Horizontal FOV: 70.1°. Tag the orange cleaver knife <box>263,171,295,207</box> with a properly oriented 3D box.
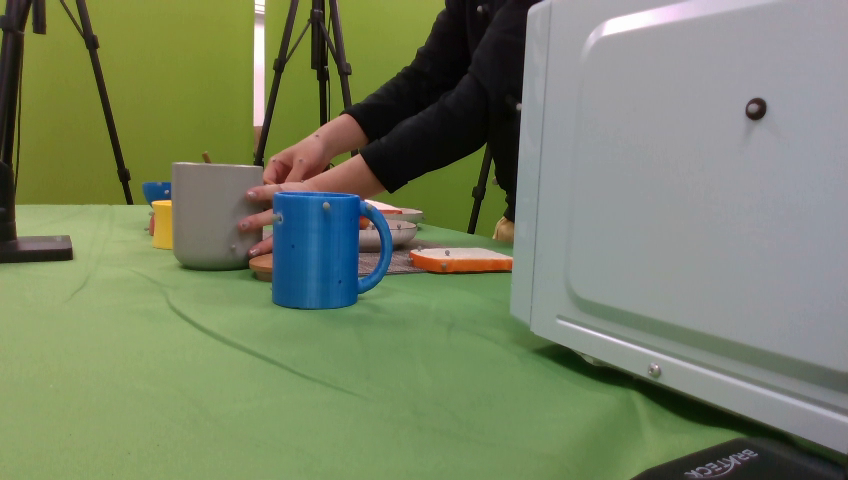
[{"bbox_3d":[-0.283,-0.087,1.343,0.212,0.077,0.012,24,-16,-41],"label":"orange cleaver knife"}]

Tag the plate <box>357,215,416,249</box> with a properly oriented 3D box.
[{"bbox_3d":[-0.116,-0.014,0.967,0.208,0.039,0.207,2,8,0],"label":"plate"}]

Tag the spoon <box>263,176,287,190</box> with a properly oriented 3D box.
[{"bbox_3d":[-0.202,-0.060,0.977,0.195,0.021,0.041,40,5,-43],"label":"spoon"}]

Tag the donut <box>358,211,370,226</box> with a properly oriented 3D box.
[{"bbox_3d":[-0.132,-0.042,0.959,0.099,0.048,0.099,1,7,0],"label":"donut"}]

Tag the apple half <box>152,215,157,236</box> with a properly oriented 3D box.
[{"bbox_3d":[-0.415,-0.034,1.017,0.081,0.053,0.074,1,10,-9],"label":"apple half"}]

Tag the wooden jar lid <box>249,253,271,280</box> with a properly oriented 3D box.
[{"bbox_3d":[-0.148,0.028,0.708,0.108,0.020,0.108,-1,9,0],"label":"wooden jar lid"}]

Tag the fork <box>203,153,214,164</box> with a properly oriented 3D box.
[{"bbox_3d":[-0.480,-0.136,1.411,0.028,0.018,0.207,0,-34,-1],"label":"fork"}]

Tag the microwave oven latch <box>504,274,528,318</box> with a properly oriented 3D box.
[{"bbox_3d":[0.100,0.041,0.470,0.079,0.029,0.030,-1,7,-27],"label":"microwave oven latch"}]

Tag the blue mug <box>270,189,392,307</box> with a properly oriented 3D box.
[{"bbox_3d":[-0.090,0.005,0.588,0.117,0.106,0.082,1,7,-10],"label":"blue mug"}]

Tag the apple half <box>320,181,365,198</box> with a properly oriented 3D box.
[{"bbox_3d":[-0.130,-0.077,0.951,0.081,0.033,0.081,4,14,-1],"label":"apple half"}]

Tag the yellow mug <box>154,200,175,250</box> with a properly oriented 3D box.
[{"bbox_3d":[-0.337,-0.023,0.899,0.130,0.064,0.100,8,9,34],"label":"yellow mug"}]

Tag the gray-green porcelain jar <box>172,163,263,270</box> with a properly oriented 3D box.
[{"bbox_3d":[-0.254,-0.031,0.751,0.106,0.126,0.106,1,7,0],"label":"gray-green porcelain jar"}]

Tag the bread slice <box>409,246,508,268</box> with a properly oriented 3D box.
[{"bbox_3d":[0.048,0.022,0.816,0.132,0.019,0.104,0,6,-24],"label":"bread slice"}]

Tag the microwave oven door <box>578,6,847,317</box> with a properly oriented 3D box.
[{"bbox_3d":[0.294,-0.067,0.570,0.358,0.243,0.039,-3,9,-31],"label":"microwave oven door"}]

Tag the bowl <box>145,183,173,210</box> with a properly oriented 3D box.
[{"bbox_3d":[-0.459,-0.069,1.175,0.151,0.077,0.151,3,7,0],"label":"bowl"}]

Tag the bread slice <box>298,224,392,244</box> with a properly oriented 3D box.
[{"bbox_3d":[-0.119,-0.011,0.969,0.106,0.018,0.135,9,10,40],"label":"bread slice"}]

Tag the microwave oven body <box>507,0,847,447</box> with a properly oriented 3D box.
[{"bbox_3d":[0.331,-0.042,0.425,0.444,0.260,0.324,-2,8,-31],"label":"microwave oven body"}]

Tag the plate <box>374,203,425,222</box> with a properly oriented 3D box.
[{"bbox_3d":[-0.102,-0.053,1.299,0.209,0.038,0.209,2,8,0],"label":"plate"}]
